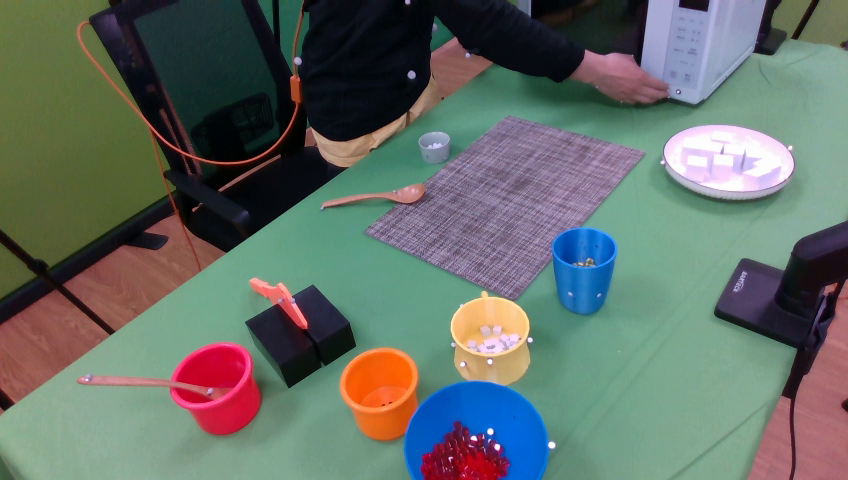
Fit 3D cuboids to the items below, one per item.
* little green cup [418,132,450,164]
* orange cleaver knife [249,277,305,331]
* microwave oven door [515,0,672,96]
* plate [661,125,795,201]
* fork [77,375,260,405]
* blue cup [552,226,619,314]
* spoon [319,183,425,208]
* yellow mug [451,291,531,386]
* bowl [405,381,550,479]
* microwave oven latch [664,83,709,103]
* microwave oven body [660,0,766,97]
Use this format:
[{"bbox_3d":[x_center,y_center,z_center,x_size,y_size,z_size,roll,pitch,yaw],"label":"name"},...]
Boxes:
[{"bbox_3d":[0.021,-0.178,1.168,0.061,0.039,0.061,-3,41,3],"label":"little green cup"},{"bbox_3d":[-0.210,0.088,0.856,0.012,0.077,0.210,-28,15,-25],"label":"orange cleaver knife"},{"bbox_3d":[0.344,-0.455,1.260,0.353,0.245,0.039,26,51,33],"label":"microwave oven door"},{"bbox_3d":[0.514,-0.128,1.036,0.207,0.039,0.206,-4,40,4],"label":"plate"},{"bbox_3d":[-0.295,0.176,0.717,0.209,0.018,0.028,20,27,-37],"label":"fork"},{"bbox_3d":[0.219,0.046,0.826,0.092,0.101,0.092,-6,40,5],"label":"blue cup"},{"bbox_3d":[-0.093,-0.076,1.075,0.193,0.022,0.041,-5,58,5],"label":"spoon"},{"bbox_3d":[0.086,0.119,0.787,0.100,0.064,0.130,-7,39,1],"label":"yellow mug"},{"bbox_3d":[0.058,0.235,0.646,0.151,0.077,0.150,-4,39,4],"label":"bowl"},{"bbox_3d":[0.521,-0.298,1.205,0.030,0.029,0.078,-34,46,-26],"label":"microwave oven latch"},{"bbox_3d":[0.473,-0.514,1.317,0.438,0.261,0.327,26,51,34],"label":"microwave oven body"}]
